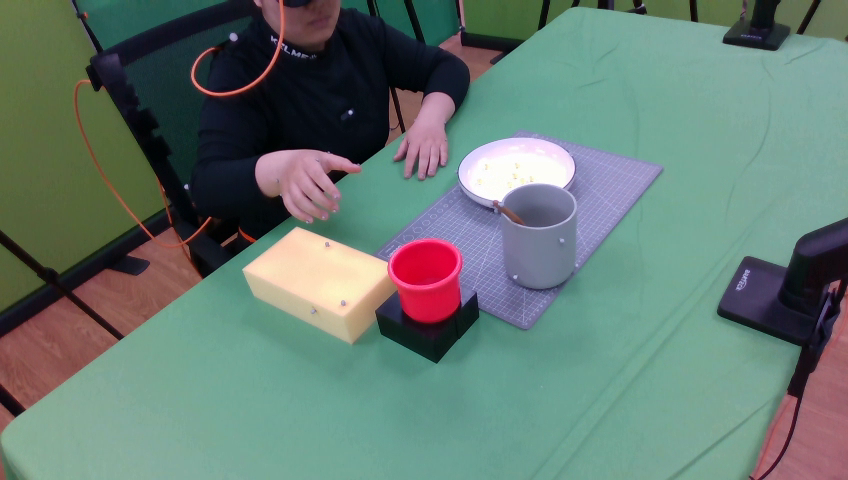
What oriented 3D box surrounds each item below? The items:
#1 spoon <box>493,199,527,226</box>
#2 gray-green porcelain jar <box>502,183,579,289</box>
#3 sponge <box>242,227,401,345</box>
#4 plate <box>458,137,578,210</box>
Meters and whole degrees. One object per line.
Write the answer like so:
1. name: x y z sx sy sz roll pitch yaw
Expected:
1. spoon: 0.135 -0.016 0.831 0.021 0.195 0.041 -49 53 -1
2. gray-green porcelain jar: 0.167 -0.001 0.866 0.106 0.127 0.105 -5 40 5
3. sponge: -0.154 0.063 0.907 0.205 0.061 0.118 19 48 29
4. plate: 0.166 -0.113 1.068 0.207 0.039 0.206 -5 40 5
